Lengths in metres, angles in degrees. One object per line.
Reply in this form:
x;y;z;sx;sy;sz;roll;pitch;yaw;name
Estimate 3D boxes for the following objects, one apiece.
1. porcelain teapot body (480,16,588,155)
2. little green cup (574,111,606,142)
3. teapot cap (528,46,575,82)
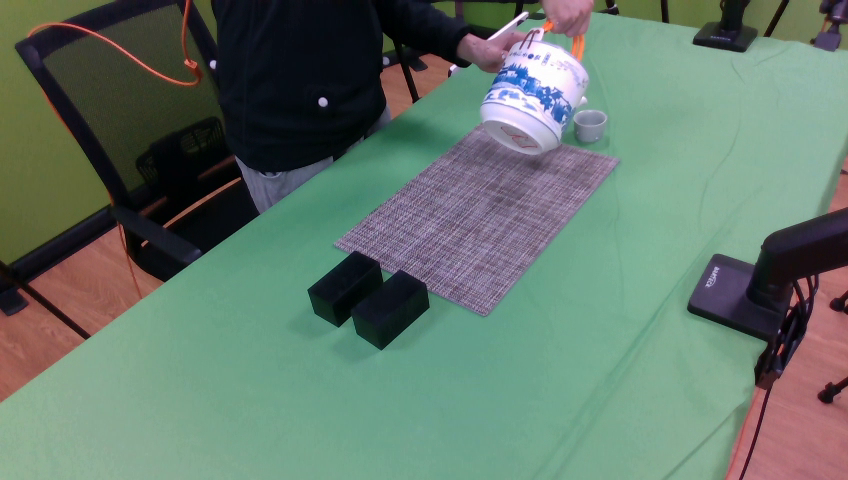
0.214;-0.255;1.035;0.144;0.207;0.225;21;80;42;porcelain teapot body
0.318;-0.217;1.164;0.061;0.039;0.061;-3;41;3;little green cup
0.216;-0.301;1.016;0.084;0.086;0.044;24;80;32;teapot cap
